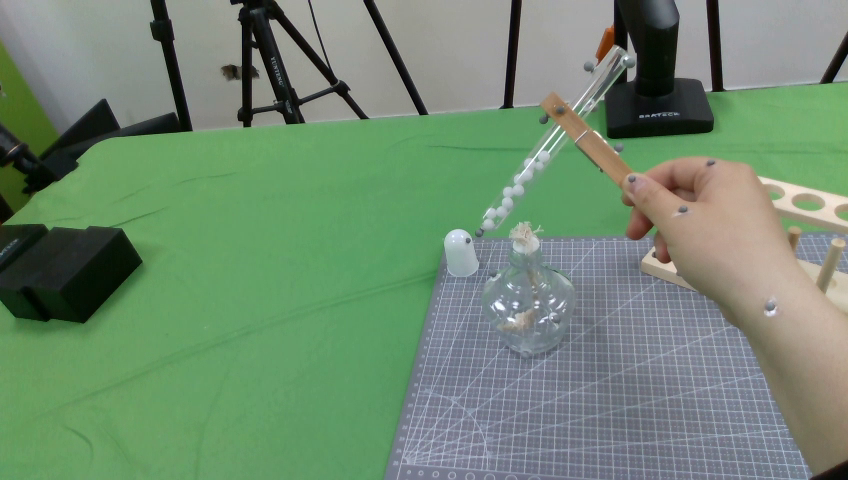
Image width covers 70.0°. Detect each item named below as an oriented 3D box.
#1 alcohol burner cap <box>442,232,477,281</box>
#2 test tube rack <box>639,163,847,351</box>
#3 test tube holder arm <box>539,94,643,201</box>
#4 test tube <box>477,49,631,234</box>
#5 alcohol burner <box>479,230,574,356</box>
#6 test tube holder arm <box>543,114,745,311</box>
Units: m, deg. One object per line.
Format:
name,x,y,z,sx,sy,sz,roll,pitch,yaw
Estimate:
alcohol burner cap,0.033,0.013,0.589,0.034,0.048,0.033,-7,40,6
test tube rack,0.298,0.019,0.472,0.240,0.086,0.066,23,51,37
test tube holder arm,0.109,-0.061,0.399,0.015,0.087,0.010,-44,-9,17
test tube,0.086,-0.064,0.414,0.150,0.017,0.017,-53,37,16
alcohol burner,0.082,0.038,0.487,0.078,0.120,0.077,-7,40,6
test tube holder arm,0.139,-0.027,0.394,0.015,0.013,0.177,-44,73,18
